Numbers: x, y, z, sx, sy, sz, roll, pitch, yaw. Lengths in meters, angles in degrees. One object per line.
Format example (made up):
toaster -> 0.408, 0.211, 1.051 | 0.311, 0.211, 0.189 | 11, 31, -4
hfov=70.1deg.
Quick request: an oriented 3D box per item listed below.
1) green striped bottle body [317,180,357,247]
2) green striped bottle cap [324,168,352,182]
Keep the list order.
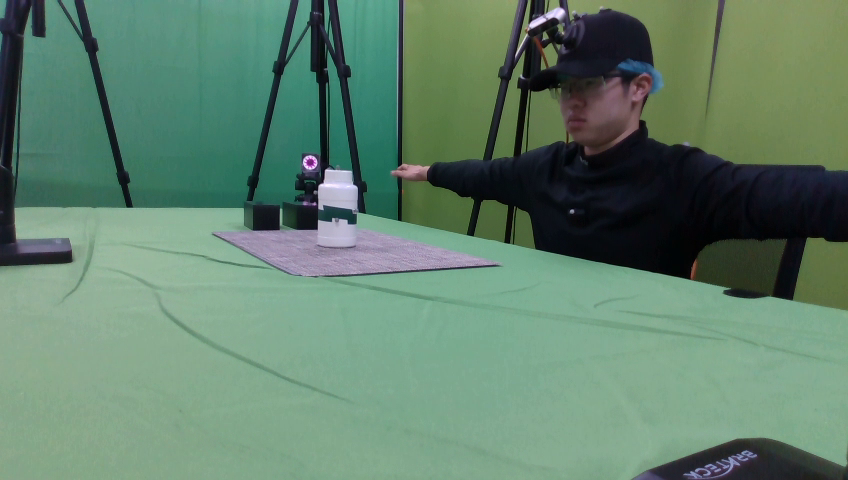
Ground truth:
green striped bottle body -> -0.139, -0.051, 0.964 | 0.063, 0.119, 0.063 | 2, 7, 0
green striped bottle cap -> -0.136, -0.103, 0.959 | 0.044, 0.020, 0.044 | 4, 9, 0
